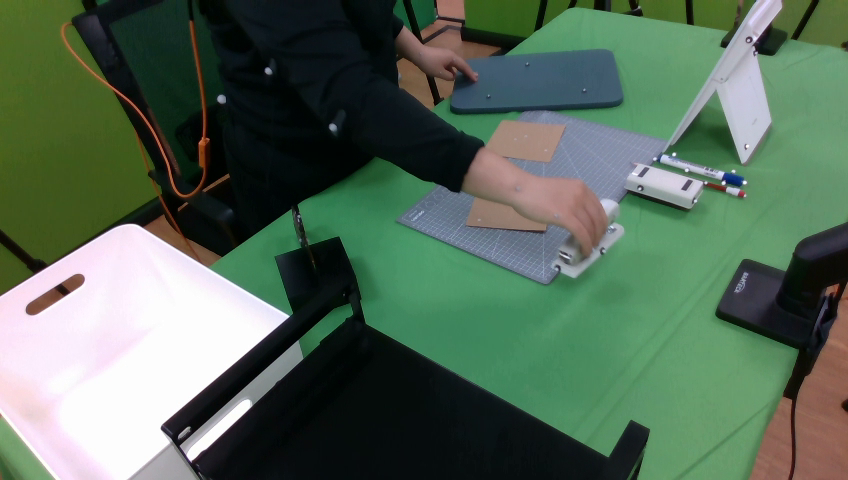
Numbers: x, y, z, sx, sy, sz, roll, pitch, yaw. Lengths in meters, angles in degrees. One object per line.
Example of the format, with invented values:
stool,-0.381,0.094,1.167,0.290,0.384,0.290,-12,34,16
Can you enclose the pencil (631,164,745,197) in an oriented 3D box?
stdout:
pencil,0.449,-0.105,1.039,0.192,0.012,0.012,22,48,30

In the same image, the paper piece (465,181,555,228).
paper piece,0.150,-0.062,1.034,0.137,0.009,0.136,4,37,17

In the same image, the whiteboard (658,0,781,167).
whiteboard,0.572,-0.272,1.038,0.143,0.306,0.218,36,54,17

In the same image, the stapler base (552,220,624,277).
stapler base,0.230,0.002,0.840,0.041,0.024,0.131,24,50,40

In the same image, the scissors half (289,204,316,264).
scissors half,-0.190,-0.010,0.944,0.013,0.040,0.173,-17,38,-15

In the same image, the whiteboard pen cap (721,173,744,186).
whiteboard pen cap,0.520,-0.102,1.020,0.033,0.018,0.018,22,49,30

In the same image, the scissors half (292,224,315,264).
scissors half,-0.187,0.008,0.954,0.013,0.040,0.174,-22,22,-12

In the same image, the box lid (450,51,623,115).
box lid,0.251,-0.358,1.370,0.371,0.015,0.262,-1,41,9

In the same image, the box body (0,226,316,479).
box body,-0.339,0.162,0.728,0.361,0.161,0.255,23,48,31

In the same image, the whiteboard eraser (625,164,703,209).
whiteboard eraser,0.397,-0.086,1.003,0.112,0.042,0.056,23,47,31

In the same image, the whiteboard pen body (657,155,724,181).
whiteboard pen body,0.476,-0.122,1.051,0.139,0.017,0.017,25,50,32

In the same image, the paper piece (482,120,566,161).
paper piece,0.198,-0.199,1.188,0.135,0.004,0.135,11,43,21

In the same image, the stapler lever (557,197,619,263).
stapler lever,0.225,-0.016,0.823,0.026,0.040,0.118,24,50,40
